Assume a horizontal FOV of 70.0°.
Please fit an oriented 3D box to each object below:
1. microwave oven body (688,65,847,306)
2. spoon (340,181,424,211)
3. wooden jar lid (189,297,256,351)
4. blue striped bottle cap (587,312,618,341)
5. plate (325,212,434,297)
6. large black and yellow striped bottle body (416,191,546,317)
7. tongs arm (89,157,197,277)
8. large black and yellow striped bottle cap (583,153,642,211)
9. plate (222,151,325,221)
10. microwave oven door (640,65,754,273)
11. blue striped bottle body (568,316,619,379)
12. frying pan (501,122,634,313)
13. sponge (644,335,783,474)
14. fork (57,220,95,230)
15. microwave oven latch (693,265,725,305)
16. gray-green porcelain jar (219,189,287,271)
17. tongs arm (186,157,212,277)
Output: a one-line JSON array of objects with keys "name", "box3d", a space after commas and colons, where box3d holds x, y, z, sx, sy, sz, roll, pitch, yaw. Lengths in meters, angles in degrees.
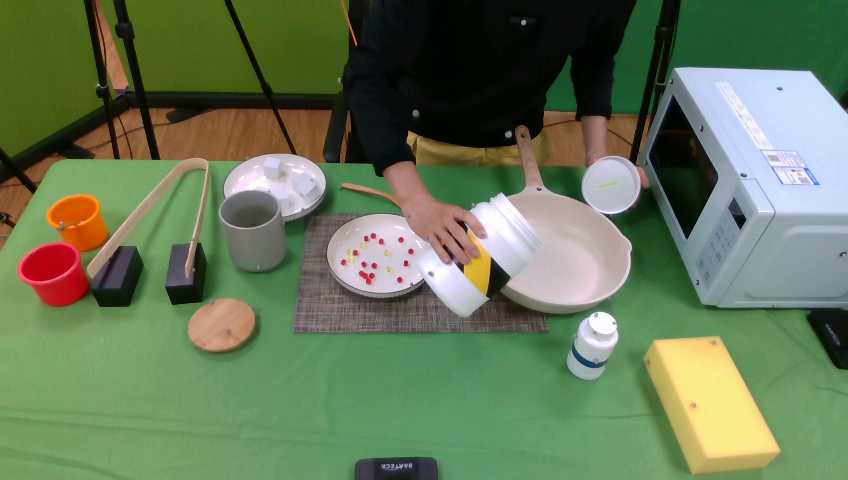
[{"name": "microwave oven body", "box3d": [0.669, -0.111, 1.176, 0.326, 0.261, 0.439, 0, 46, -3]}, {"name": "spoon", "box3d": [-0.090, -0.100, 1.282, 0.193, 0.022, 0.041, 18, 66, 12]}, {"name": "wooden jar lid", "box3d": [-0.342, 0.145, 1.033, 0.108, 0.021, 0.107, 2, 45, -2]}, {"name": "blue striped bottle cap", "box3d": [0.279, 0.134, 0.946, 0.044, 0.021, 0.044, 2, 45, -2]}, {"name": "plate", "box3d": [-0.080, 0.030, 1.143, 0.209, 0.038, 0.208, 3, 46, -2]}, {"name": "large black and yellow striped bottle body", "box3d": [0.094, 0.021, 0.982, 0.184, 0.131, 0.130, -42, 53, 9]}, {"name": "tongs arm", "box3d": [-0.530, -0.058, 1.163, 0.028, 0.028, 0.385, 2, 36, 7]}, {"name": "large black and yellow striped bottle cap", "box3d": [0.373, -0.114, 1.204, 0.115, 0.115, 0.019, 3, 6, -1]}, {"name": "plate", "box3d": [-0.310, -0.106, 1.262, 0.208, 0.039, 0.206, 2, 47, -2]}, {"name": "microwave oven door", "box3d": [0.523, -0.147, 1.193, 0.039, 0.245, 0.353, 0, 47, -3]}, {"name": "blue striped bottle body", "box3d": [0.277, 0.169, 0.984, 0.063, 0.121, 0.062, 2, 46, -2]}, {"name": "frying pan", "box3d": [0.235, -0.061, 1.207, 0.307, 0.103, 0.484, 2, 55, -5]}, {"name": "sponge", "box3d": [0.448, 0.253, 0.956, 0.118, 0.061, 0.205, -3, 47, -7]}, {"name": "fork", "box3d": [-0.624, -0.027, 1.087, 0.028, 0.207, 0.018, -3, 92, -17]}, {"name": "microwave oven latch", "box3d": [0.523, 0.082, 1.116, 0.030, 0.029, 0.078, 2, 46, -1]}, {"name": "gray-green porcelain jar", "box3d": [-0.310, -0.014, 1.113, 0.106, 0.127, 0.105, 2, 46, -2]}, {"name": "tongs arm", "box3d": [-0.445, -0.058, 1.168, 0.051, 0.026, 0.382, -4, 37, -6]}]
